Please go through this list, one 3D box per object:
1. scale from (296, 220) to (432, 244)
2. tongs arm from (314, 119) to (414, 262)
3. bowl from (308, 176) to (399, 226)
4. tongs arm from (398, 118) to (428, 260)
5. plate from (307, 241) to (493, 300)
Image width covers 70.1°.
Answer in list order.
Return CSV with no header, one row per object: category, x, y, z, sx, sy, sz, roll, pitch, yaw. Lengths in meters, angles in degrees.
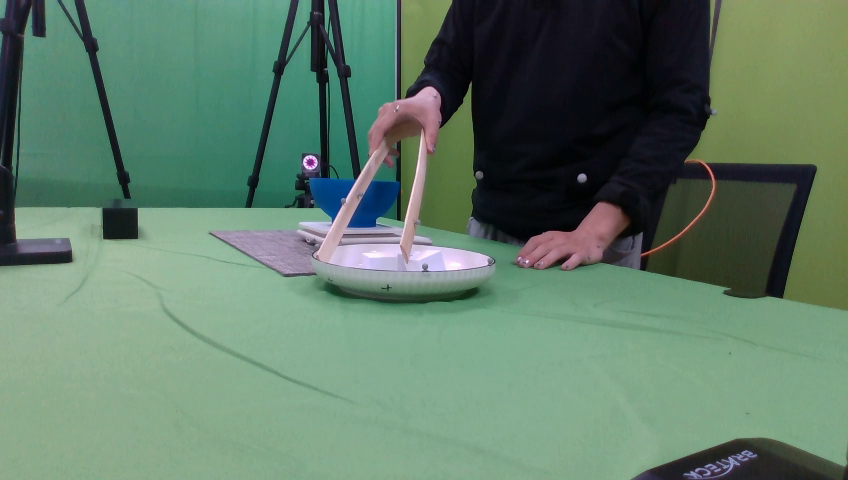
scale,-0.101,-0.012,1.017,0.202,0.031,0.148,-2,8,-30
tongs arm,-0.067,-0.078,0.804,0.050,0.026,0.384,-9,29,14
bowl,-0.116,-0.064,1.001,0.151,0.077,0.151,2,6,0
tongs arm,-0.015,-0.085,0.792,0.028,0.028,0.387,-15,29,12
plate,-0.026,0.034,0.684,0.208,0.039,0.207,2,7,0
